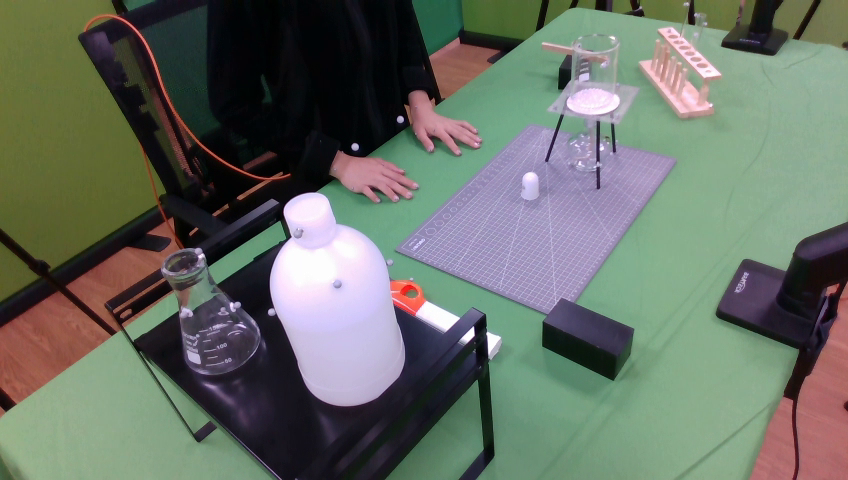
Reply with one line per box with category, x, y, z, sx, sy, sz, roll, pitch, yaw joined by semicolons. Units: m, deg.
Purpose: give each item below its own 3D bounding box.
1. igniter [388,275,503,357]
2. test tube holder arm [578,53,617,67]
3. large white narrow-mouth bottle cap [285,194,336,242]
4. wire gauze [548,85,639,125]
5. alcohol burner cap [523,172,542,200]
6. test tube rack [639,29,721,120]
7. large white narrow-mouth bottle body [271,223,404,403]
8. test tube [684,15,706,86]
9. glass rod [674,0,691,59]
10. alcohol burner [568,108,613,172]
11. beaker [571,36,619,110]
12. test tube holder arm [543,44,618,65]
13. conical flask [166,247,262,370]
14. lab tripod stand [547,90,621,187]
igniter;-0.008;0.093;0.870;0.274;0.025;0.057;24;60;33
test tube holder arm;0.376;-0.393;1.314;0.087;0.015;0.010;25;51;32
large white narrow-mouth bottle cap;-0.087;-0.018;0.467;0.038;0.024;0.037;-5;40;4
wire gauze;0.286;-0.233;1.020;0.124;0.011;0.122;15;43;30
alcohol burner cap;0.186;-0.096;1.046;0.034;0.048;0.033;-6;36;5
test tube rack;0.527;-0.351;1.262;0.067;0.085;0.241;-8;40;1
large white narrow-mouth bottle body;-0.077;0.048;0.525;0.102;0.195;0.101;-5;40;5
test tube;0.541;-0.378;1.216;0.017;0.151;0.017;-2;44;3
glass rod;0.537;-0.437;1.257;0.008;0.200;0.008;0;39;1
alcohol burner;0.296;-0.182;1.074;0.078;0.119;0.077;-5;43;5
beaker;0.281;-0.273;0.992;0.084;0.101;0.073;-24;42;-16
test tube holder arm;0.344;-0.412;1.341;0.177;0.015;0.013;25;51;31
conical flask;-0.209;0.064;0.585;0.075;0.122;0.075;-5;40;4
lab tripod stand;0.289;-0.184;1.062;0.148;0.132;0.147;-6;41;6
